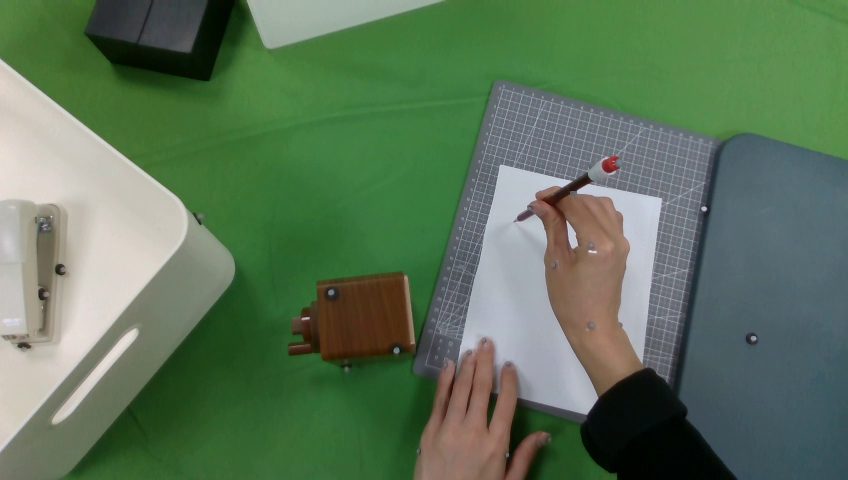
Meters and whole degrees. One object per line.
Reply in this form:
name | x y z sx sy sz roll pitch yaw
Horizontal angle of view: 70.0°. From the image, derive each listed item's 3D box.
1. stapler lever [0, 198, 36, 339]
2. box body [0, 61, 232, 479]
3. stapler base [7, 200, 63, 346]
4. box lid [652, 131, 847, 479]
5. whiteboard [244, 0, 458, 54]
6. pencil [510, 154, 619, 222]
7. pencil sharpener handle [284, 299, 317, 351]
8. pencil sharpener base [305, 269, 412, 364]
stapler lever | -0.343 0.022 0.504 0.027 0.040 0.117 -5 79 -1
box body | -0.368 -0.006 0.471 0.363 0.161 0.253 36 78 6
stapler base | -0.345 0.026 0.529 0.041 0.024 0.130 -5 79 -1
box lid | 0.365 0.091 0.554 0.263 0.015 0.370 16 77 1
whiteboard | -0.090 -0.355 0.522 0.217 0.308 0.142 -17 58 -6
pencil | 0.100 -0.034 0.476 0.012 0.194 0.012 2 80 -11
pencil sharpener handle | -0.101 0.072 0.478 0.031 0.068 0.035 -6 61 -3
pencil sharpener base | -0.051 0.066 0.495 0.077 0.107 0.061 -6 77 -3
